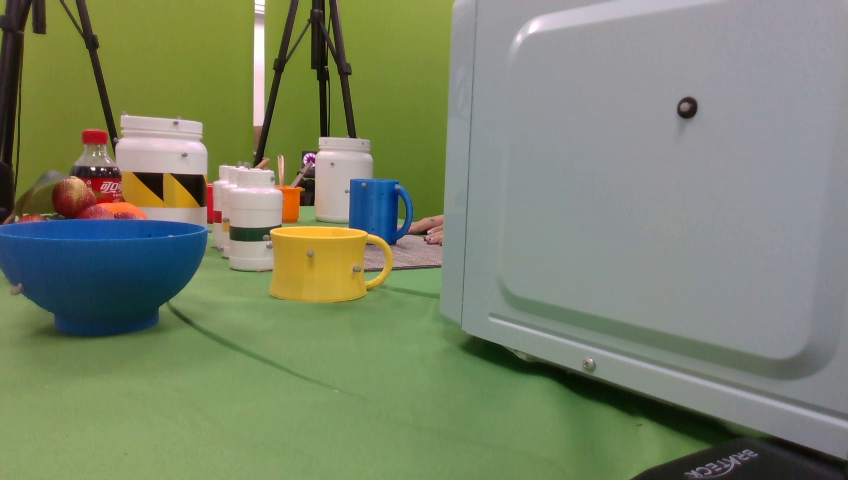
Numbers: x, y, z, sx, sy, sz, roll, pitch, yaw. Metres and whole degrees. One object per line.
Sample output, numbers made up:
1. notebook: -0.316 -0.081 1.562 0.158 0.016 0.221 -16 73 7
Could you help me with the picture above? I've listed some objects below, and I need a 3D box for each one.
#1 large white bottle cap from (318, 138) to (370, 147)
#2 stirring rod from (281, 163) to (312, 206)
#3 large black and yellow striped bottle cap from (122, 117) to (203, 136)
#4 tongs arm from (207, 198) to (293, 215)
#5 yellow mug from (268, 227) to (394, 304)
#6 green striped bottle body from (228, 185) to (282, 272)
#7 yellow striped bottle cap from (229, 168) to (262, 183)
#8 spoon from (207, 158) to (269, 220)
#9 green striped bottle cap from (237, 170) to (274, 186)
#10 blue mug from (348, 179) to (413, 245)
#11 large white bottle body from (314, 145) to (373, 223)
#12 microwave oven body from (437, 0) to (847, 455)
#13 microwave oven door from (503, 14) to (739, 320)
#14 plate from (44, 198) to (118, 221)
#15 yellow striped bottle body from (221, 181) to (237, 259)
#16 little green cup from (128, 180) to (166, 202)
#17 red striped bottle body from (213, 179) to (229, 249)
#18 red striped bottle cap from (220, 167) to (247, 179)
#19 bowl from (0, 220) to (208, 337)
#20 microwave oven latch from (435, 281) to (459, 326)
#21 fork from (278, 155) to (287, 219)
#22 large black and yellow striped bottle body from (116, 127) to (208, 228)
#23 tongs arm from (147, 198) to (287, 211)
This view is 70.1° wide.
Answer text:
1. large white bottle cap: -0.179 -0.218 1.351 0.115 0.018 0.115 2 8 0
2. stirring rod: -0.292 -0.111 1.323 0.014 0.006 0.176 2 47 30
3. large black and yellow striped bottle cap: -0.399 -0.174 0.927 0.115 0.019 0.115 5 9 -1
4. tongs arm: -0.423 -0.084 1.472 0.050 0.026 0.386 2 6 21
5. yellow mug: -0.094 0.023 0.629 0.131 0.064 0.099 0 7 -22
6. green striped bottle body: -0.208 -0.023 0.745 0.063 0.119 0.063 2 7 0
7. yellow striped bottle cap: -0.240 -0.087 0.816 0.044 0.018 0.044 -2 5 1
8. spoon: -0.380 -0.108 1.251 0.041 0.022 0.194 4 51 39
9. green striped bottle cap: -0.205 -0.075 0.737 0.044 0.020 0.044 1 6 0
10. blue mug: -0.071 -0.047 1.002 0.116 0.106 0.082 7 9 26
11. large white bottle body: -0.182 -0.135 1.362 0.131 0.184 0.130 2 7 0
12. microwave oven body: 0.279 -0.040 0.464 0.444 0.260 0.324 -3 8 -41
13. microwave oven door: 0.218 -0.065 0.600 0.358 0.243 0.039 -4 10 -41
14. plate: -0.617 -0.056 1.179 0.209 0.038 0.209 3 7 0
15. yellow striped bottle body: -0.244 -0.036 0.824 0.063 0.120 0.063 2 8 0
16. little green cup: -0.485 -0.087 1.062 0.061 0.038 0.061 0 6 0
17. red striped bottle body: -0.284 -0.048 0.909 0.063 0.119 0.063 3 10 0
18. red striped bottle cap: -0.281 -0.099 0.901 0.044 0.017 0.044 -1 5 0
19. bowl: -0.251 0.029 0.479 0.151 0.077 0.151 2 7 0
20. microwave oven latch: 0.044 0.046 0.470 0.079 0.029 0.030 -3 8 -40
21. fork: -0.318 -0.120 1.342 0.028 0.018 0.206 0 52 -13
22. large black and yellow striped bottle body: -0.404 -0.089 0.937 0.131 0.184 0.130 3 7 0
23. tongs arm: -0.504 -0.091 1.513 0.028 0.028 0.389 0 4 37
